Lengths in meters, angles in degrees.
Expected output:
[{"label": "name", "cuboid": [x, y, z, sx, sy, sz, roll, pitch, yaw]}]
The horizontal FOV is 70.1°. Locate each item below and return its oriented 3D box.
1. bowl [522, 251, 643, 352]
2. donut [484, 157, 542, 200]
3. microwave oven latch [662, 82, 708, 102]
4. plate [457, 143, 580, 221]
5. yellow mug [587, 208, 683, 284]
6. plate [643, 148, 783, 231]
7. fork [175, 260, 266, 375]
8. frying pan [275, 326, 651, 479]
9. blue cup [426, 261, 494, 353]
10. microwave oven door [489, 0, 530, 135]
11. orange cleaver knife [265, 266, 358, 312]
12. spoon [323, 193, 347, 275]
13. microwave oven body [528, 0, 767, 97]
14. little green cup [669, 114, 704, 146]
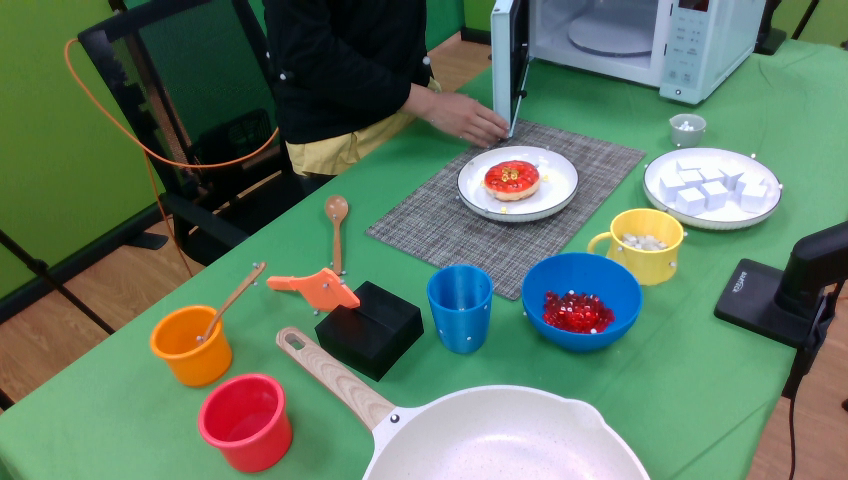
[{"label": "bowl", "cuboid": [0.204, 0.093, 0.792, 0.151, 0.077, 0.150, -4, 40, 4]}, {"label": "donut", "cuboid": [0.153, -0.108, 1.039, 0.099, 0.048, 0.098, -6, 38, 5]}, {"label": "microwave oven latch", "cuboid": [0.517, -0.298, 1.202, 0.078, 0.029, 0.030, 27, 52, 35]}, {"label": "plate", "cuboid": [0.162, -0.097, 1.042, 0.209, 0.038, 0.208, -4, 40, 4]}, {"label": "yellow mug", "cuboid": [0.305, 0.009, 0.884, 0.131, 0.064, 0.099, -4, 40, 5]}, {"label": "plate", "cuboid": [0.464, -0.080, 0.986, 0.207, 0.039, 0.206, -4, 41, 4]}, {"label": "fork", "cuboid": [-0.268, 0.102, 0.792, 0.207, 0.019, 0.028, -51, 41, 16]}, {"label": "frying pan", "cuboid": [0.004, 0.229, 0.641, 0.484, 0.103, 0.308, 34, 54, 28]}, {"label": "blue cup", "cuboid": [0.049, 0.095, 0.792, 0.092, 0.100, 0.092, -3, 42, 3]}, {"label": "microwave oven door", "cuboid": [0.178, -0.411, 1.226, 0.039, 0.245, 0.355, 5, 42, 14]}, {"label": "orange cleaver knife", "cuboid": [-0.164, 0.073, 0.864, 0.210, 0.077, 0.012, -6, 31, 50]}, {"label": "spoon", "cuboid": [-0.148, -0.014, 1.008, 0.042, 0.022, 0.192, 1, 40, -9]}, {"label": "microwave oven body", "cuboid": [0.473, -0.516, 1.313, 0.438, 0.261, 0.327, 26, 51, 34]}, {"label": "little green cup", "cuboid": [0.485, -0.203, 1.123, 0.061, 0.039, 0.061, -5, 40, 5]}]
